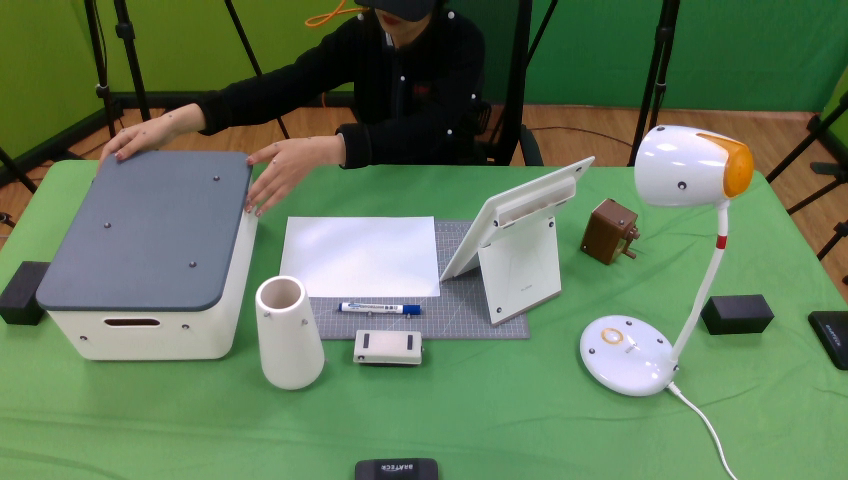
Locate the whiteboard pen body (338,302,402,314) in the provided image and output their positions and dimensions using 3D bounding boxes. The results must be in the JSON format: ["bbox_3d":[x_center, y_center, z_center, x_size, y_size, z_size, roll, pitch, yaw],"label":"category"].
[{"bbox_3d":[-0.083,0.121,1.074,0.141,0.017,0.017,3,46,-2],"label":"whiteboard pen body"}]

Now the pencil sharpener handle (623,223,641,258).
[{"bbox_3d":[0.399,0.002,1.146,0.030,0.068,0.036,35,45,26],"label":"pencil sharpener handle"}]

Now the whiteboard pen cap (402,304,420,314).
[{"bbox_3d":[-0.024,0.123,1.076,0.033,0.018,0.018,1,46,1],"label":"whiteboard pen cap"}]

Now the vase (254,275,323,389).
[{"bbox_3d":[-0.209,0.143,0.921,0.098,0.201,0.097,1,46,-1],"label":"vase"}]

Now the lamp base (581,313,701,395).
[{"bbox_3d":[0.361,0.144,0.972,0.178,0.181,0.160,34,53,23],"label":"lamp base"}]

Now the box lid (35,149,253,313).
[{"bbox_3d":[-0.436,-0.032,0.994,0.263,0.015,0.369,0,46,-5],"label":"box lid"}]

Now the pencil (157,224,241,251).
[{"bbox_3d":[-0.438,-0.008,1.174,0.193,0.012,0.012,15,47,15],"label":"pencil"}]

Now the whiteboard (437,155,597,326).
[{"bbox_3d":[0.180,0.023,1.029,0.217,0.306,0.143,-21,71,-23],"label":"whiteboard"}]

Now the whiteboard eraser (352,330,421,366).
[{"bbox_3d":[-0.061,0.180,1.005,0.113,0.042,0.055,3,48,-3],"label":"whiteboard eraser"}]

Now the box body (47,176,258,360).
[{"bbox_3d":[-0.441,0.022,1.046,0.254,0.161,0.361,0,46,-4],"label":"box body"}]

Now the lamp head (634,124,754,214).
[{"bbox_3d":[0.351,-0.089,0.776,0.112,0.113,0.122,-30,30,-28],"label":"lamp head"}]

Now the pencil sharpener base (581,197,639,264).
[{"bbox_3d":[0.362,-0.016,1.178,0.076,0.107,0.061,35,53,26],"label":"pencil sharpener base"}]
